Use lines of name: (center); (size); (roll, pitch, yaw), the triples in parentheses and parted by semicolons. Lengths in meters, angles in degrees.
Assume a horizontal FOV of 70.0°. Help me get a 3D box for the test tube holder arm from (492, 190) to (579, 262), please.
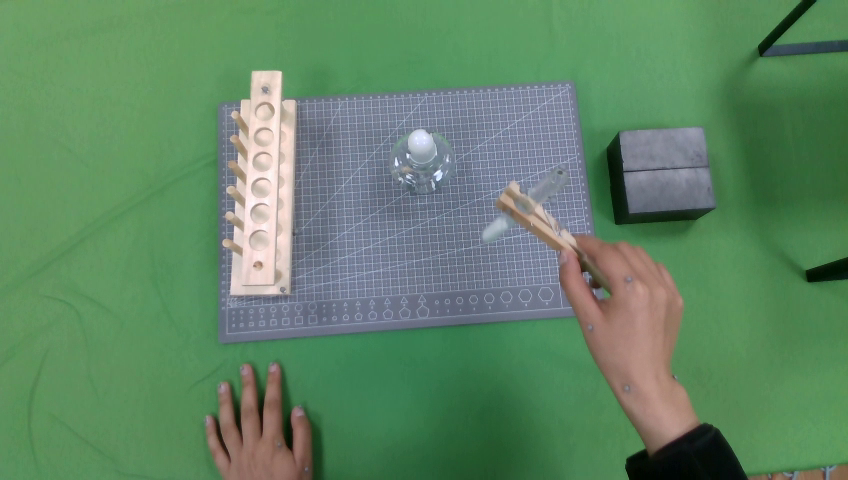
test tube holder arm: (0.095, -0.011, 0.512); (0.088, 0.015, 0.010); (36, 68, -5)

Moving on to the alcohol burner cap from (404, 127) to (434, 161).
alcohol burner cap: (-0.006, -0.106, 0.654); (0.034, 0.048, 0.034); (0, 83, 1)

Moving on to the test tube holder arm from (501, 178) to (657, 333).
test tube holder arm: (0.133, 0.014, 0.516); (0.178, 0.015, 0.013); (43, 68, -2)

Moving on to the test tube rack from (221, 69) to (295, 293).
test tube rack: (-0.192, -0.065, 0.692); (0.067, 0.085, 0.241); (0, 78, -1)

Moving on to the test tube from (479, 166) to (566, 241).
test tube: (0.079, -0.027, 0.519); (0.017, 0.150, 0.017); (5, 72, -16)

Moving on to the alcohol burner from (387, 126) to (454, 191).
alcohol burner: (-0.005, -0.098, 0.689); (0.078, 0.119, 0.077); (0, 79, 0)
